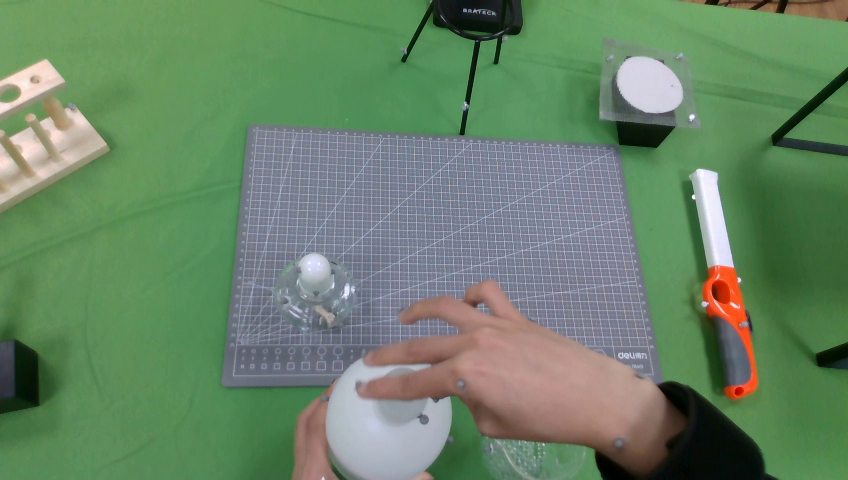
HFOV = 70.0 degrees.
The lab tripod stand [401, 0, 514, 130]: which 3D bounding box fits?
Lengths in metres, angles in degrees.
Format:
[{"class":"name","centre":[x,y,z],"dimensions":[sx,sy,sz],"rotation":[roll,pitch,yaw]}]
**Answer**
[{"class":"lab tripod stand","centre":[0.047,-0.225,0.706],"dimensions":[0.149,0.132,0.147],"rotation":[4,67,-9]}]

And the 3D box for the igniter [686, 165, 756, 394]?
[{"class":"igniter","centre":[0.339,0.037,0.695],"dimensions":[0.057,0.025,0.274],"rotation":[9,66,-17]}]

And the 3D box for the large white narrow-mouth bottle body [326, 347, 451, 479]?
[{"class":"large white narrow-mouth bottle body","centre":[-0.030,0.143,0.497],"dimensions":[0.102,0.195,0.101],"rotation":[3,65,-7]}]

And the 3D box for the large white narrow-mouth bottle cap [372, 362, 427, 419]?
[{"class":"large white narrow-mouth bottle cap","centre":[-0.017,0.102,0.412],"dimensions":[0.038,0.024,0.037],"rotation":[3,65,-7]}]

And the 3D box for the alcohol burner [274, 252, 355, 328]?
[{"class":"alcohol burner","centre":[-0.103,0.041,0.571],"dimensions":[0.078,0.119,0.077],"rotation":[5,64,-9]}]

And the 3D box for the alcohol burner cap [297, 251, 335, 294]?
[{"class":"alcohol burner cap","centre":[-0.098,0.027,0.538],"dimensions":[0.034,0.048,0.033],"rotation":[2,71,-5]}]

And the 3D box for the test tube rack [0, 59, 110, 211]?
[{"class":"test tube rack","centre":[-0.444,-0.070,0.583],"dimensions":[0.242,0.085,0.066],"rotation":[-38,77,-22]}]

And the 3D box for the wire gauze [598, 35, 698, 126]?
[{"class":"wire gauze","centre":[0.273,-0.195,0.744],"dimensions":[0.122,0.011,0.124],"rotation":[9,65,-5]}]

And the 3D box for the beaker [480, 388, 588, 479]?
[{"class":"beaker","centre":[0.092,0.181,0.553],"dimensions":[0.084,0.101,0.073],"rotation":[7,65,-5]}]
